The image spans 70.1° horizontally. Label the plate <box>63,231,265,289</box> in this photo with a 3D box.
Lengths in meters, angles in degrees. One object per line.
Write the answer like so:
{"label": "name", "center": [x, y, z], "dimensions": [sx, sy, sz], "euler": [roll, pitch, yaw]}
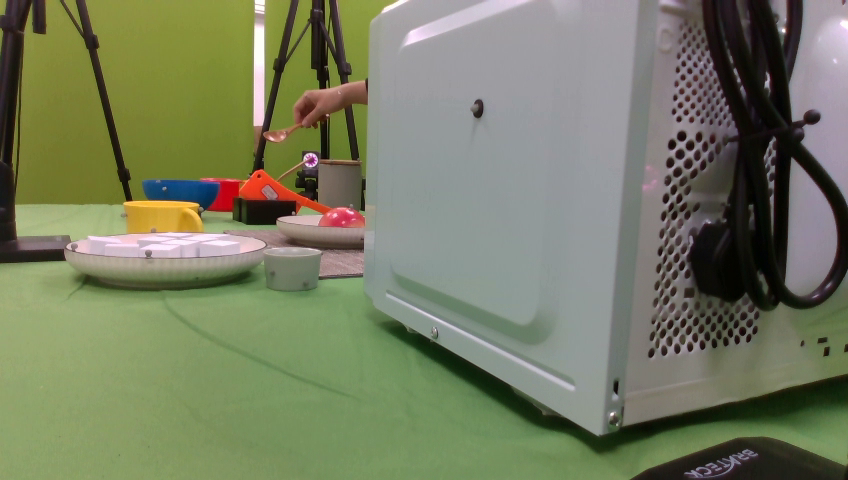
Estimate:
{"label": "plate", "center": [-0.288, 0.021, 0.687], "dimensions": [0.208, 0.039, 0.207], "euler": [2, 8, 0]}

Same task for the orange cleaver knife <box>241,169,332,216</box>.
{"label": "orange cleaver knife", "center": [-0.286, -0.081, 1.298], "dimensions": [0.212, 0.077, 0.012], "euler": [25, -5, -31]}

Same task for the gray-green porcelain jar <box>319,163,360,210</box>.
{"label": "gray-green porcelain jar", "center": [-0.204, -0.126, 1.489], "dimensions": [0.106, 0.126, 0.106], "euler": [2, 7, 0]}

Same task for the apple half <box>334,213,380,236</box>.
{"label": "apple half", "center": [-0.112, -0.029, 1.034], "dimensions": [0.081, 0.033, 0.081], "euler": [1, 10, 0]}

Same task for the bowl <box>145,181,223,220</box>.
{"label": "bowl", "center": [-0.499, -0.082, 1.261], "dimensions": [0.151, 0.077, 0.151], "euler": [2, 8, 0]}

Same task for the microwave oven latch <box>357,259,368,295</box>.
{"label": "microwave oven latch", "center": [-0.019, 0.031, 0.529], "dimensions": [0.079, 0.029, 0.030], "euler": [-1, 7, -26]}

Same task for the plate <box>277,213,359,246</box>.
{"label": "plate", "center": [-0.135, -0.018, 0.994], "dimensions": [0.209, 0.038, 0.209], "euler": [2, 7, 0]}

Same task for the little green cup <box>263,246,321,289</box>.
{"label": "little green cup", "center": [-0.142, 0.029, 0.649], "dimensions": [0.061, 0.038, 0.061], "euler": [3, 7, 0]}

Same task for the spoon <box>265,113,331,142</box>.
{"label": "spoon", "center": [-0.295, -0.270, 1.436], "dimensions": [0.194, 0.021, 0.041], "euler": [-32, 72, -36]}

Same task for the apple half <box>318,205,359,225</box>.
{"label": "apple half", "center": [-0.126, -0.028, 0.954], "dimensions": [0.081, 0.053, 0.074], "euler": [-2, 11, -33]}

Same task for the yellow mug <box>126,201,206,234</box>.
{"label": "yellow mug", "center": [-0.360, -0.019, 0.866], "dimensions": [0.130, 0.064, 0.100], "euler": [6, 9, 27]}

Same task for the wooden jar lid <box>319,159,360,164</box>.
{"label": "wooden jar lid", "center": [-0.203, -0.189, 1.481], "dimensions": [0.108, 0.020, 0.108], "euler": [2, 9, 0]}

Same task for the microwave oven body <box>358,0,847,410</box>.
{"label": "microwave oven body", "center": [0.210, -0.051, 0.471], "dimensions": [0.444, 0.260, 0.324], "euler": [-1, 7, -28]}

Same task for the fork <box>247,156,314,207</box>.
{"label": "fork", "center": [-0.360, -0.147, 1.522], "dimensions": [0.207, 0.018, 0.028], "euler": [-43, 14, -7]}

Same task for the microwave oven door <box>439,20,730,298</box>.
{"label": "microwave oven door", "center": [0.181, -0.076, 0.618], "dimensions": [0.358, 0.243, 0.039], "euler": [-2, 8, -28]}
